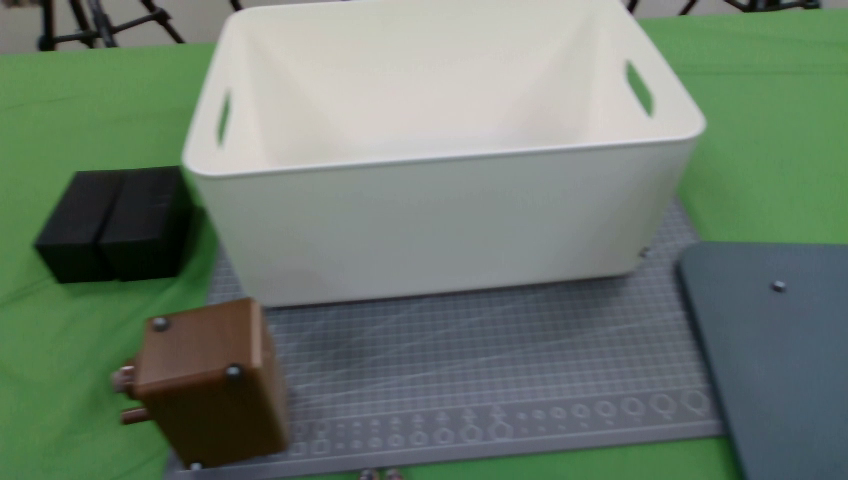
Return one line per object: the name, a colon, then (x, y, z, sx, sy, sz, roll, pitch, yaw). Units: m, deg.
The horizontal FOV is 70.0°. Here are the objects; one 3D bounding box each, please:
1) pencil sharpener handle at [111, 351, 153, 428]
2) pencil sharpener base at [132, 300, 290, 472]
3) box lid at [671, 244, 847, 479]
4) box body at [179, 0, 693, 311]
pencil sharpener handle: (-0.188, 0.101, 0.388, 0.031, 0.068, 0.035, -11, 49, -8)
pencil sharpener base: (-0.138, 0.100, 0.404, 0.077, 0.108, 0.060, -11, 46, -8)
box lid: (0.397, 0.101, 0.462, 0.371, 0.015, 0.260, 1, 45, 2)
box body: (0.006, -0.086, 0.549, 0.364, 0.162, 0.251, -5, 45, -4)
